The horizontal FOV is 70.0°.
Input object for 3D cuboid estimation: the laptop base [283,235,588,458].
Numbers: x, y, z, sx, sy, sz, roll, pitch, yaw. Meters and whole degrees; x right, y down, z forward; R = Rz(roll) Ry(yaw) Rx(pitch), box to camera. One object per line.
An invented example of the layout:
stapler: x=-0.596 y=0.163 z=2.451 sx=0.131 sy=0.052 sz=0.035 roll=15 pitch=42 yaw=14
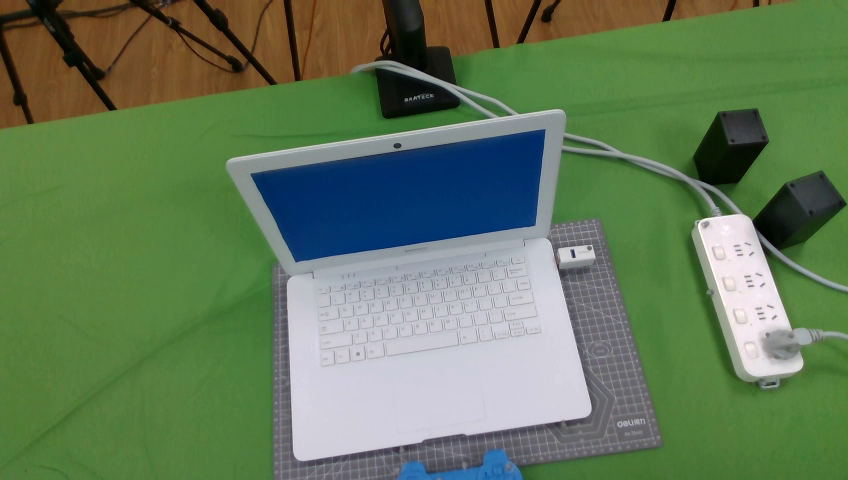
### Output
laptop base: x=0.004 y=0.125 z=0.756 sx=0.354 sy=0.023 sz=0.233 roll=-9 pitch=68 yaw=0

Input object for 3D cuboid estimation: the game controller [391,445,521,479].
game controller: x=0.035 y=0.282 z=0.664 sx=0.155 sy=0.052 sz=0.096 roll=-8 pitch=63 yaw=0

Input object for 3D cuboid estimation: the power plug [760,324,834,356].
power plug: x=0.427 y=0.118 z=0.700 sx=0.072 sy=0.053 sz=0.035 roll=4 pitch=65 yaw=2

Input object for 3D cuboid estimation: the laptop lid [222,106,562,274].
laptop lid: x=-0.023 y=-0.046 z=0.705 sx=0.357 sy=0.244 sz=0.013 roll=-10 pitch=56 yaw=1

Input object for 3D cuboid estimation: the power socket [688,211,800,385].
power socket: x=0.391 y=0.064 z=0.749 sx=0.072 sy=0.033 sz=0.225 roll=-7 pitch=65 yaw=2

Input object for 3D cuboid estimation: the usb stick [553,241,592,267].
usb stick: x=0.183 y=0.019 z=0.779 sx=0.059 sy=0.027 sz=0.021 roll=-10 pitch=66 yaw=4
